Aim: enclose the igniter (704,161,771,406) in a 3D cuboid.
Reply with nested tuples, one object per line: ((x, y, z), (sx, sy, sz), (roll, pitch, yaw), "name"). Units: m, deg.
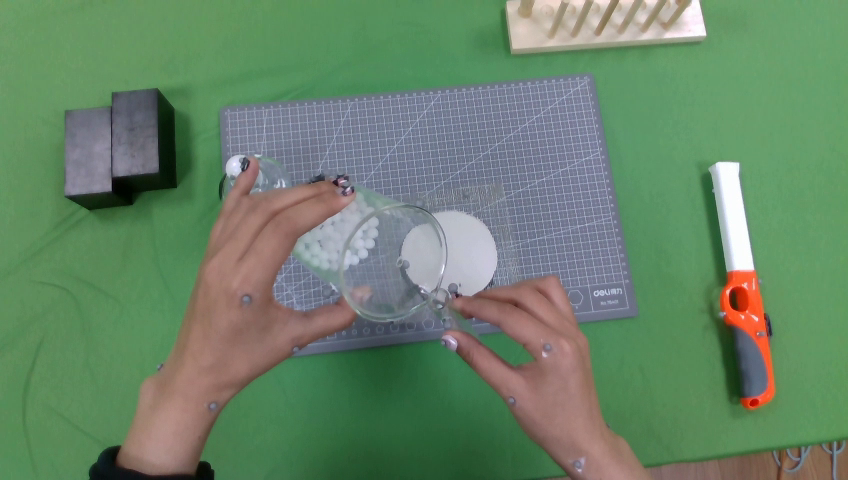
((0.352, 0.044, 0.682), (0.057, 0.025, 0.275), (0, 77, -12), "igniter")

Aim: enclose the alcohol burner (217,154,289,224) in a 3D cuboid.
((-0.185, -0.059, 0.640), (0.078, 0.119, 0.077), (0, 75, -1), "alcohol burner")

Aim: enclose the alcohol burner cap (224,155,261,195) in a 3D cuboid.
((-0.183, -0.067, 0.606), (0.034, 0.048, 0.033), (1, 79, -5), "alcohol burner cap")

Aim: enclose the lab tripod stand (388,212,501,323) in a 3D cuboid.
((0.017, 0.028, 0.617), (0.148, 0.132, 0.147), (0, 76, 0), "lab tripod stand")

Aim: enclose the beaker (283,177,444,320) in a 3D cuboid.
((-0.043, 0.002, 0.398), (0.074, 0.099, 0.085), (-53, 127, -7), "beaker")

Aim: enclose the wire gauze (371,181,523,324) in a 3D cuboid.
((0.020, 0.010, 0.552), (0.125, 0.011, 0.121), (-8, 76, -4), "wire gauze")

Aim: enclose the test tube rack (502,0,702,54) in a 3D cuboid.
((0.222, -0.281, 0.722), (0.242, 0.085, 0.066), (-5, 77, -3), "test tube rack")

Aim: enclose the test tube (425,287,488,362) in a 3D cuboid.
((0.028, 0.068, 0.456), (0.017, 0.151, 0.017), (-7, 64, 14), "test tube")
